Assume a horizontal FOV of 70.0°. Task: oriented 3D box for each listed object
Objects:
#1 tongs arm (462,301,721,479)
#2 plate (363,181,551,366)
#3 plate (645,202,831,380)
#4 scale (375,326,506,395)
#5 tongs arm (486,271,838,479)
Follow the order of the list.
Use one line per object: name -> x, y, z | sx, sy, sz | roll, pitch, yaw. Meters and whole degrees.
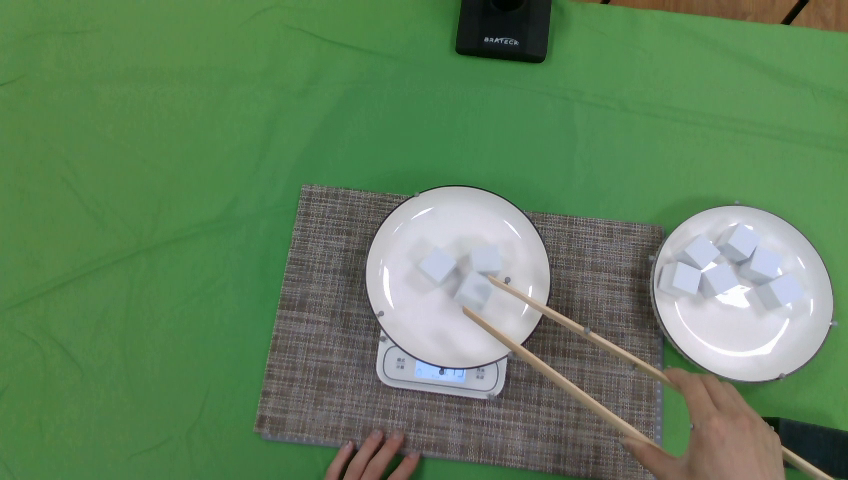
tongs arm -> 0.190, 0.159, 0.550 | 0.384, 0.028, 0.028 | 32, 70, 25
plate -> 0.036, 0.036, 0.681 | 0.209, 0.038, 0.208 | 0, 76, 0
plate -> 0.360, 0.059, 0.709 | 0.208, 0.039, 0.206 | 0, 76, 0
scale -> 0.027, 0.071, 0.706 | 0.148, 0.032, 0.200 | 8, 77, 2
tongs arm -> 0.207, 0.138, 0.557 | 0.382, 0.027, 0.050 | 29, 72, 24
